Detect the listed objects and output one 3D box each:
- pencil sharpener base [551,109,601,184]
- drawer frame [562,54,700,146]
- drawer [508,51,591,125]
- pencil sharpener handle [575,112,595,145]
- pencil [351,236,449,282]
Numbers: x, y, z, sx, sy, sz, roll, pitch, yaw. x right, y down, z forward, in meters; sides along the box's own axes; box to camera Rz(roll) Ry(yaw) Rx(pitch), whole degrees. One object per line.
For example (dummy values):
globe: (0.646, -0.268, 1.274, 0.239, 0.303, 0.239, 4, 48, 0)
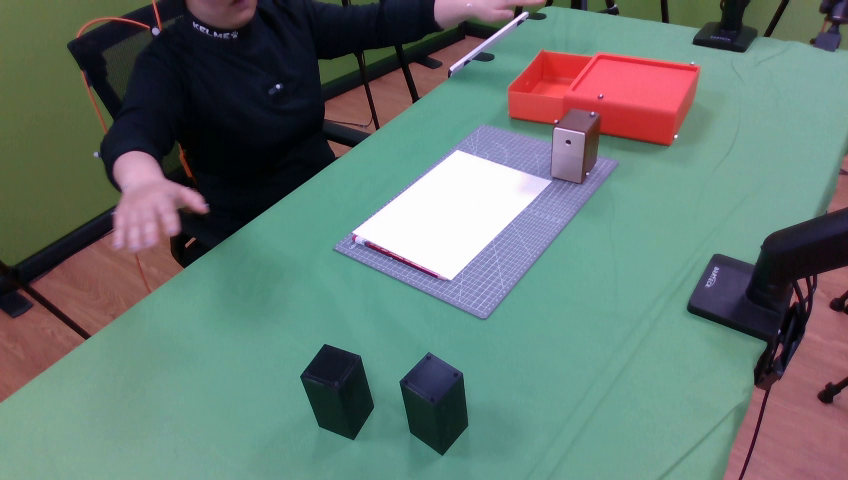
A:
pencil sharpener base: (0.265, -0.164, 1.053, 0.061, 0.107, 0.077, 17, 46, 27)
drawer frame: (0.406, -0.282, 1.195, 0.212, 0.083, 0.202, 17, 45, 25)
drawer: (0.304, -0.309, 1.246, 0.210, 0.073, 0.195, 16, 45, 25)
pencil sharpener handle: (0.290, -0.203, 1.077, 0.036, 0.068, 0.031, 20, 47, 25)
pencil: (-0.041, 0.029, 0.946, 0.192, 0.012, 0.012, 23, 49, 29)
